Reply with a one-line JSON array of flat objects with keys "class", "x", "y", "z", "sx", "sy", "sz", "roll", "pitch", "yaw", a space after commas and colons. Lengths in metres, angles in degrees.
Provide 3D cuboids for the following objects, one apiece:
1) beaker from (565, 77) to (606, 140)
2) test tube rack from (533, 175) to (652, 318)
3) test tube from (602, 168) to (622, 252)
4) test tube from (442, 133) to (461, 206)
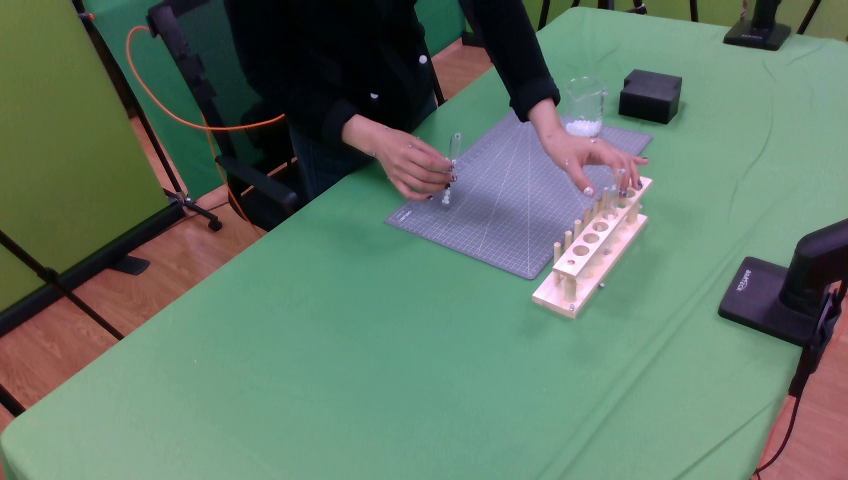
[{"class": "beaker", "x": 0.305, "y": -0.247, "z": 1.153, "sx": 0.073, "sy": 0.101, "sz": 0.084, "roll": 15, "pitch": 46, "yaw": 27}, {"class": "test tube rack", "x": 0.251, "y": -0.001, "z": 0.888, "sx": 0.066, "sy": 0.085, "sz": 0.243, "roll": 22, "pitch": 49, "yaw": 32}, {"class": "test tube", "x": 0.264, "y": -0.039, "z": 0.853, "sx": 0.017, "sy": 0.151, "sz": 0.017, "roll": -5, "pitch": 44, "yaw": 5}, {"class": "test tube", "x": 0.043, "y": -0.109, "z": 0.969, "sx": 0.017, "sy": 0.151, "sz": 0.017, "roll": 4, "pitch": 48, "yaw": -3}]
